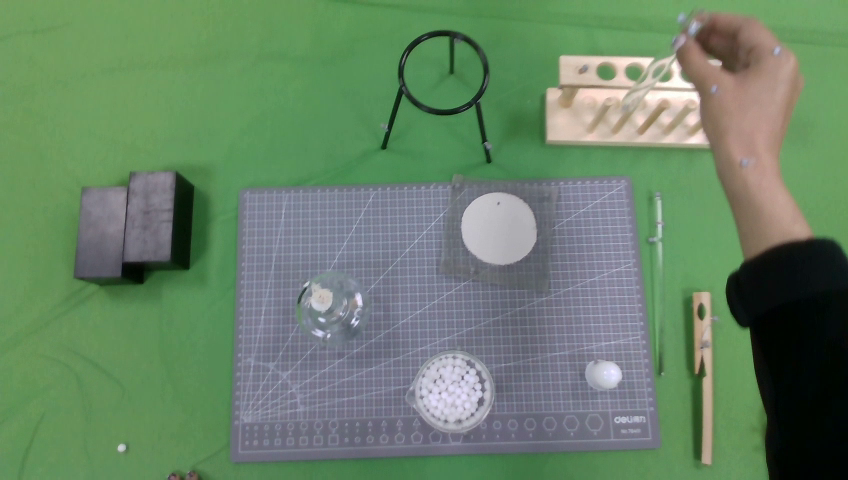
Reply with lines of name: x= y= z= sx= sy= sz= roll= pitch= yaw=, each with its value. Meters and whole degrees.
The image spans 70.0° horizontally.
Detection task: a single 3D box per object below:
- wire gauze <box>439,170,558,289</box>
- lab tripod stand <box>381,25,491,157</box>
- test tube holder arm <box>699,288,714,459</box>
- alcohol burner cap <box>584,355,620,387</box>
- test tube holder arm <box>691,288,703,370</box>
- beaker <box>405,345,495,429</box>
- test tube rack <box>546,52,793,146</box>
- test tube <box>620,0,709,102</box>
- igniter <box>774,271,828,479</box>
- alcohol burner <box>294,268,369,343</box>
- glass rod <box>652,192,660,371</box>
wire gauze: x=0.084 y=-0.014 z=0.681 sx=0.125 sy=0.011 sz=0.121 roll=9 pitch=80 yaw=1
lab tripod stand: x=0.017 y=-0.152 z=0.648 sx=0.148 sy=0.132 sz=0.148 roll=0 pitch=80 yaw=1
test tube holder arm: x=0.300 y=0.140 z=0.644 sx=0.013 sy=0.015 sz=0.177 roll=-6 pitch=76 yaw=35
alcohol burner cap: x=0.188 y=0.136 z=0.631 sx=0.034 sy=0.048 sz=0.033 roll=0 pitch=78 yaw=0
test tube holder arm: x=0.297 y=0.096 z=0.655 sx=0.010 sy=0.015 sz=0.087 roll=-5 pitch=77 yaw=35
beaker: x=0.025 y=0.146 z=0.601 sx=0.084 sy=0.100 sz=0.073 roll=-9 pitch=77 yaw=-1
test tube rack: x=0.264 y=-0.154 z=0.672 sx=0.242 sy=0.085 sz=0.066 roll=2 pitch=78 yaw=1
test tube: x=0.203 y=-0.159 z=0.524 sx=0.017 sy=0.151 sz=0.017 roll=1 pitch=76 yaw=-3
igniter: x=0.394 y=0.169 z=0.634 sx=0.057 sy=0.025 sz=0.275 roll=9 pitch=78 yaw=-8
alcohol burner: x=-0.096 y=0.064 z=0.611 sx=0.078 sy=0.119 sz=0.077 roll=-1 pitch=77 yaw=3
glass rod: x=0.257 y=0.044 z=0.670 sx=0.008 sy=0.008 sz=0.199 roll=4 pitch=81 yaw=1
